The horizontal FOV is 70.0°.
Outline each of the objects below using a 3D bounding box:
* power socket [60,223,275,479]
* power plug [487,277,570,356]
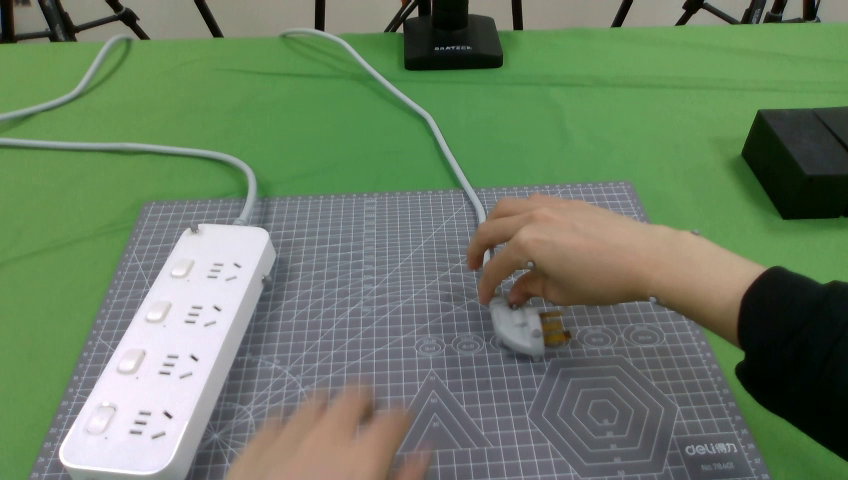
[{"bbox_3d":[-0.166,0.068,0.423,0.072,0.033,0.224,5,44,4],"label":"power socket"},{"bbox_3d":[0.073,0.048,0.434,0.052,0.035,0.072,-7,57,2],"label":"power plug"}]
